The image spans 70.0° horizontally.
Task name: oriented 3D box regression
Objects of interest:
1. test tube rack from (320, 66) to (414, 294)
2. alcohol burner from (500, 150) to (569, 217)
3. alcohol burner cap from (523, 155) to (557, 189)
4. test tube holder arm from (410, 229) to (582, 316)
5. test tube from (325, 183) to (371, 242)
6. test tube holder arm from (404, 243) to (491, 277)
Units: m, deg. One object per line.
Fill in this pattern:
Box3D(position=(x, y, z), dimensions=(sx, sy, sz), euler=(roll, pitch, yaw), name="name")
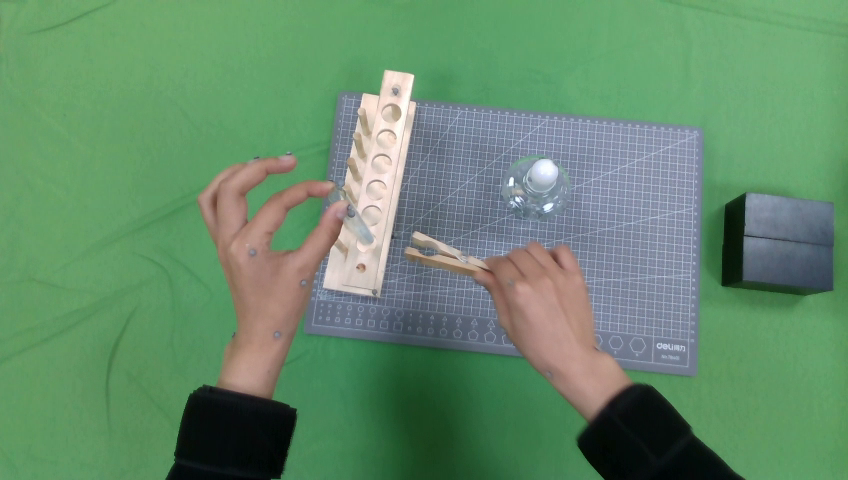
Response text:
Box3D(position=(-0.066, -0.067, 0.683), dimensions=(0.067, 0.085, 0.241), euler=(10, 80, 2), name="test tube rack")
Box3D(position=(0.124, -0.067, 0.670), dimensions=(0.078, 0.119, 0.077), euler=(0, 81, 1), name="alcohol burner")
Box3D(position=(0.123, -0.074, 0.635), dimensions=(0.034, 0.048, 0.034), euler=(0, 84, 3), name="alcohol burner cap")
Box3D(position=(0.066, 0.030, 0.579), dimensions=(0.177, 0.015, 0.013), euler=(23, 65, 15), name="test tube holder arm")
Box3D(position=(-0.066, -0.021, 0.542), dimensions=(0.017, 0.151, 0.017), euler=(-1, 77, 4), name="test tube")
Box3D(position=(0.023, 0.019, 0.587), dimensions=(0.087, 0.015, 0.010), euler=(13, 62, 11), name="test tube holder arm")
